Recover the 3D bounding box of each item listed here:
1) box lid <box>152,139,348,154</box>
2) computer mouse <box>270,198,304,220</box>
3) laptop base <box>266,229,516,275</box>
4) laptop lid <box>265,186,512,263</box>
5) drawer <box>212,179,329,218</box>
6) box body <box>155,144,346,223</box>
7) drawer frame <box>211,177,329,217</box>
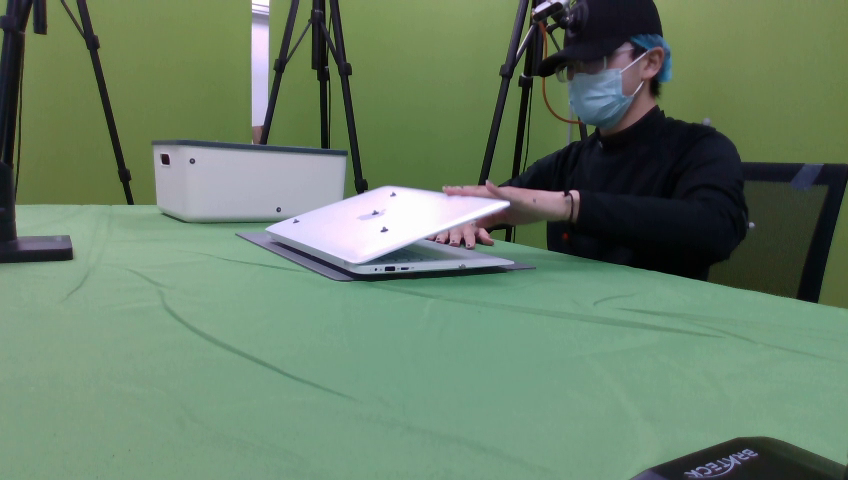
[{"bbox_3d":[-0.379,-0.205,1.338,0.373,0.015,0.262,-3,10,-36],"label":"box lid"},{"bbox_3d":[-0.319,-0.073,1.403,0.063,0.041,0.116,4,13,-24],"label":"computer mouse"},{"bbox_3d":[-0.065,0.014,0.877,0.237,0.023,0.352,1,7,-32],"label":"laptop base"},{"bbox_3d":[-0.069,-0.035,0.867,0.243,0.013,0.355,-21,18,-26],"label":"laptop lid"},{"bbox_3d":[-0.348,-0.097,1.365,0.213,0.073,0.193,-1,10,-32],"label":"drawer"},{"bbox_3d":[-0.384,-0.131,1.346,0.366,0.160,0.253,-3,9,-36],"label":"box body"},{"bbox_3d":[-0.349,-0.102,1.365,0.215,0.082,0.200,-4,9,-32],"label":"drawer frame"}]
